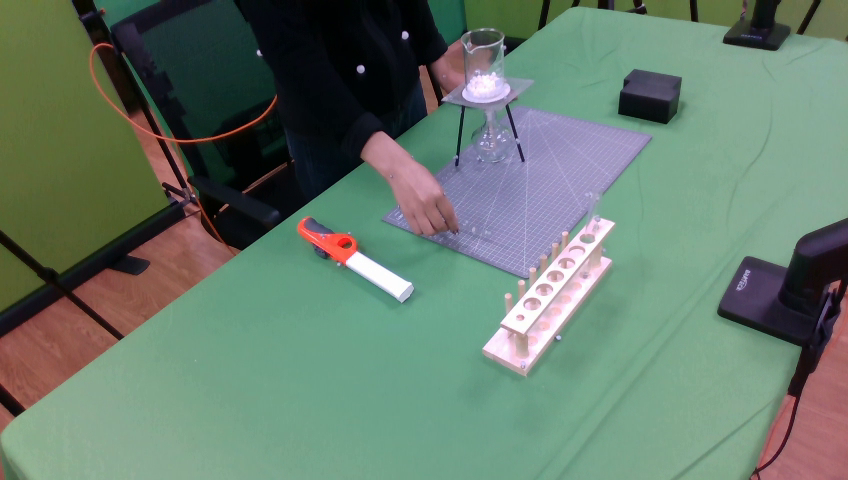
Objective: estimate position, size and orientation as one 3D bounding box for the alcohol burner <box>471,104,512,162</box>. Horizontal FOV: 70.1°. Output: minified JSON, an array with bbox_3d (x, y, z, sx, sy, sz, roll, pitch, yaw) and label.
[{"bbox_3d":[0.125,-0.207,1.126,0.078,0.119,0.077,-5,43,5],"label":"alcohol burner"}]

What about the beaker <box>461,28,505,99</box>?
[{"bbox_3d":[0.103,-0.304,1.051,0.073,0.101,0.084,19,48,29],"label":"beaker"}]

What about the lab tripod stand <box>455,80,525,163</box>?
[{"bbox_3d":[0.120,-0.219,1.126,0.148,0.132,0.147,-4,39,4],"label":"lab tripod stand"}]

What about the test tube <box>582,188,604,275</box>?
[{"bbox_3d":[0.228,-0.007,0.821,0.017,0.151,0.017,-3,42,3],"label":"test tube"}]

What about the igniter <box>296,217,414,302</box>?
[{"bbox_3d":[-0.121,0.025,0.970,0.274,0.025,0.057,29,63,37],"label":"igniter"}]

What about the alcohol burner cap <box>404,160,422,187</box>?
[{"bbox_3d":[-0.023,-0.125,1.118,0.034,0.048,0.033,-4,40,4],"label":"alcohol burner cap"}]

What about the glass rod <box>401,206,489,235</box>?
[{"bbox_3d":[0.030,-0.034,1.000,0.198,0.008,0.008,19,47,42],"label":"glass rod"}]

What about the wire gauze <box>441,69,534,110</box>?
[{"bbox_3d":[0.114,-0.268,1.082,0.120,0.011,0.125,22,47,28],"label":"wire gauze"}]

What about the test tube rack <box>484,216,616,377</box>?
[{"bbox_3d":[0.174,0.064,0.823,0.066,0.085,0.243,23,49,33],"label":"test tube rack"}]
